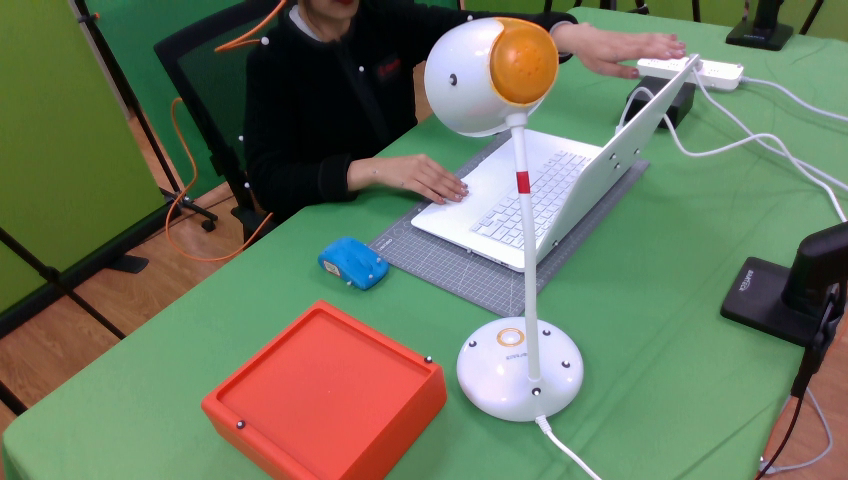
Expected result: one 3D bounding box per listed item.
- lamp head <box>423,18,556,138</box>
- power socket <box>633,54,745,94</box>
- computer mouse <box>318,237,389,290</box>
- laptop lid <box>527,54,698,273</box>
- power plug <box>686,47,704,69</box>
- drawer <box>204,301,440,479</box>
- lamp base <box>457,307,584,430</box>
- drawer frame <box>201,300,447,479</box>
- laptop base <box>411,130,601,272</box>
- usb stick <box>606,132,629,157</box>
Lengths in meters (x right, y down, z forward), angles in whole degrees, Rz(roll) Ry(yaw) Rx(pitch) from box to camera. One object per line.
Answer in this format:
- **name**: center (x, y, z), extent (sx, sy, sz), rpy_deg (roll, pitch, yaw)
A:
- **lamp head**: center (0.069, -0.151, 0.563), extent (0.113, 0.113, 0.122), rpy_deg (-21, 18, -13)
- **power socket**: center (0.563, -0.358, 1.295), extent (0.225, 0.033, 0.072), rpy_deg (21, 50, 30)
- **computer mouse**: center (-0.113, 0.033, 0.959), extent (0.116, 0.041, 0.063), rpy_deg (28, 51, 31)
- **laptop lid**: center (0.281, -0.113, 0.896), extent (0.013, 0.242, 0.358), rpy_deg (38, 55, 17)
- **power plug**: center (0.564, -0.384, 1.248), extent (0.035, 0.073, 0.052), rpy_deg (23, 70, 15)
- **drawer**: center (-0.119, 0.193, 0.735), extent (0.210, 0.073, 0.195), rpy_deg (23, 49, 32)
- **lamp base**: center (0.115, 0.108, 0.713), extent (0.161, 0.181, 0.178), rpy_deg (-17, 43, -8)
- **drawer frame**: center (-0.117, 0.193, 0.733), extent (0.212, 0.083, 0.202), rpy_deg (23, 48, 32)
- **laptop base**: center (0.175, -0.083, 1.054), extent (0.233, 0.023, 0.355), rpy_deg (21, 49, 36)
- **usb stick**: center (0.353, -0.174, 1.109), extent (0.021, 0.027, 0.059), rpy_deg (23, 49, 32)
